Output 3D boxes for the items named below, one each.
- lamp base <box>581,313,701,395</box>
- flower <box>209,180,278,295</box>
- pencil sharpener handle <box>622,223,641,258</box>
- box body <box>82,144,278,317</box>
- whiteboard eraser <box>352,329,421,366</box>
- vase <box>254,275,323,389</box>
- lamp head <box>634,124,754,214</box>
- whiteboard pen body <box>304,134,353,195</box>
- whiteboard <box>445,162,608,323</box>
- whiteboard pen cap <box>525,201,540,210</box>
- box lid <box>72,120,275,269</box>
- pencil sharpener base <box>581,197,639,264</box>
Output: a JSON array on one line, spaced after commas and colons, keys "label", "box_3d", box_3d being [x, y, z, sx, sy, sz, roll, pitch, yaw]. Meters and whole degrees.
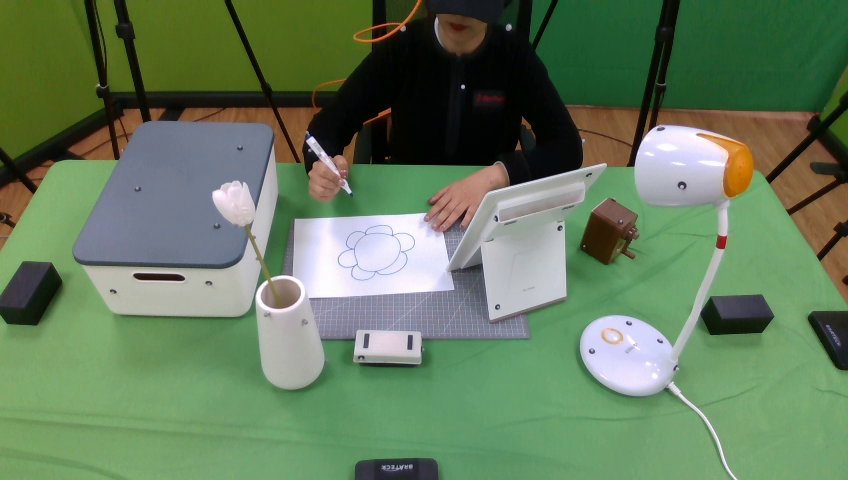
[{"label": "lamp base", "box_3d": [0.361, 0.144, 0.973, 0.178, 0.181, 0.160, 34, 53, 23]}, {"label": "flower", "box_3d": [-0.216, 0.075, 0.871, 0.044, 0.363, 0.038, -29, 36, -20]}, {"label": "pencil sharpener handle", "box_3d": [0.397, 0.002, 1.146, 0.030, 0.068, 0.036, 37, 46, 27]}, {"label": "box body", "box_3d": [-0.421, -0.041, 1.108, 0.254, 0.161, 0.361, 2, 46, -3]}, {"label": "whiteboard eraser", "box_3d": [-0.061, 0.180, 1.005, 0.113, 0.042, 0.055, 3, 48, -3]}, {"label": "vase", "box_3d": [-0.209, 0.143, 0.921, 0.098, 0.201, 0.097, 1, 46, -1]}, {"label": "lamp head", "box_3d": [0.351, -0.089, 0.776, 0.112, 0.113, 0.122, -30, 30, -28]}, {"label": "whiteboard pen body", "box_3d": [-0.179, -0.141, 1.151, 0.141, 0.017, 0.017, 53, 53, -11]}, {"label": "whiteboard", "box_3d": [0.186, 0.025, 1.029, 0.217, 0.306, 0.143, -14, 68, -17]}, {"label": "whiteboard pen cap", "box_3d": [0.230, -0.074, 1.289, 0.033, 0.018, 0.018, 5, 46, 4]}, {"label": "box lid", "box_3d": [-0.417, -0.094, 1.056, 0.263, 0.015, 0.369, 1, 47, -3]}, {"label": "pencil sharpener base", "box_3d": [0.362, -0.017, 1.179, 0.076, 0.107, 0.061, 37, 54, 27]}]
